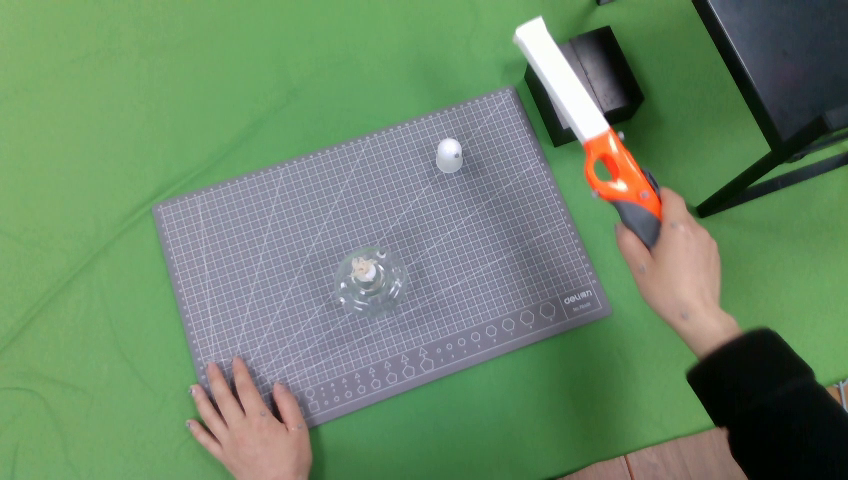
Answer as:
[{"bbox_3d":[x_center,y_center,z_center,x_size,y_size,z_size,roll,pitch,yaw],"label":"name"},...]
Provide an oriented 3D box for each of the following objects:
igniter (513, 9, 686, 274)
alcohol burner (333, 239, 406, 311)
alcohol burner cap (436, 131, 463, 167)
[{"bbox_3d":[0.166,-0.094,0.571,0.057,0.025,0.276,-29,85,-11],"label":"igniter"},{"bbox_3d":[-0.058,0.034,0.625,0.078,0.119,0.077,0,78,1],"label":"alcohol burner"},{"bbox_3d":[0.029,-0.107,0.693,0.034,0.048,0.033,0,77,2],"label":"alcohol burner cap"}]
